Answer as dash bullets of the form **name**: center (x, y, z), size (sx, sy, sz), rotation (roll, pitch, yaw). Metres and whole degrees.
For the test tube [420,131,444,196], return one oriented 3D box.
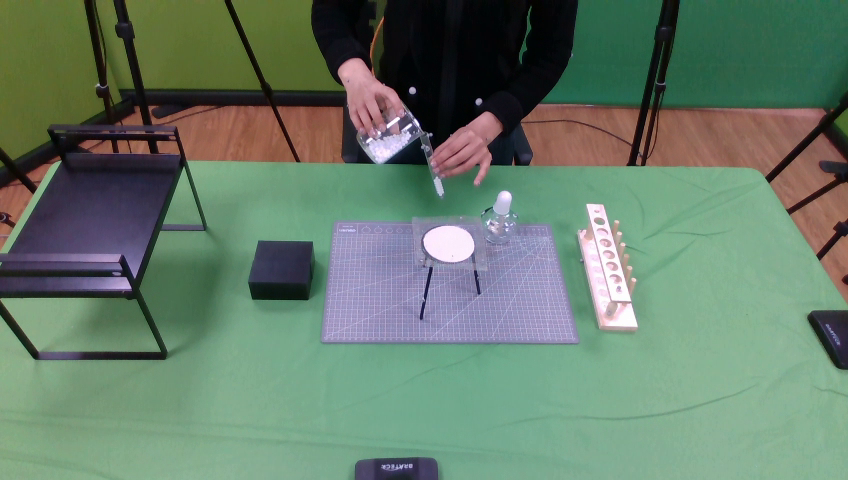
- **test tube**: center (0.016, -0.138, 1.119), size (0.017, 0.151, 0.017), rotation (-9, 46, 9)

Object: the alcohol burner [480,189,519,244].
- **alcohol burner**: center (0.150, -0.051, 1.191), size (0.078, 0.120, 0.077), rotation (1, 47, -1)

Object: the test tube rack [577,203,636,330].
- **test tube rack**: center (0.349, 0.045, 1.138), size (0.067, 0.085, 0.241), rotation (2, 46, -2)

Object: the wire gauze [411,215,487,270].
- **wire gauze**: center (0.041, 0.002, 1.026), size (0.125, 0.011, 0.120), rotation (1, 46, -3)

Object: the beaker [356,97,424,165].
- **beaker**: center (-0.059, -0.183, 1.044), size (0.100, 0.084, 0.073), rotation (-36, 48, 10)

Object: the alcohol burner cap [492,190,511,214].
- **alcohol burner cap**: center (0.151, -0.076, 1.166), size (0.034, 0.048, 0.033), rotation (5, 52, -6)

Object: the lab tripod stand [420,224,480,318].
- **lab tripod stand**: center (0.034, 0.051, 1.071), size (0.148, 0.132, 0.147), rotation (3, 48, -3)
